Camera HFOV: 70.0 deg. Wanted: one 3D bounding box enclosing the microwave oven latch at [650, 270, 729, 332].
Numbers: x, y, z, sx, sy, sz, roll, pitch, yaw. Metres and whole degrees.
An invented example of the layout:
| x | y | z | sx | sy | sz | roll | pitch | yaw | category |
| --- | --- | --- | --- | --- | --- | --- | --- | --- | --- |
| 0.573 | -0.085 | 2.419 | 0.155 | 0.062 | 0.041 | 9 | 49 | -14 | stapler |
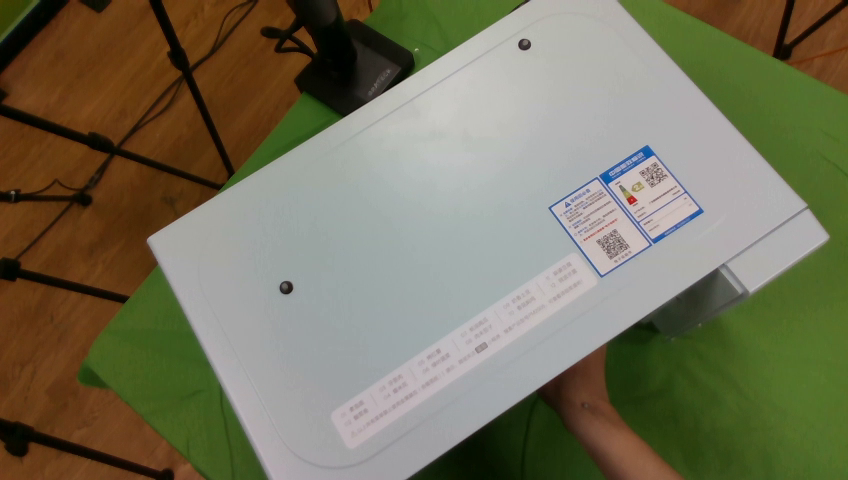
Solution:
| x | y | z | sx | sy | sz | roll | pitch | yaw | category |
| --- | --- | --- | --- | --- | --- | --- | --- | --- | --- |
| 0.282 | 0.066 | 0.644 | 0.079 | 0.030 | 0.030 | -32 | 73 | -3 | microwave oven latch |

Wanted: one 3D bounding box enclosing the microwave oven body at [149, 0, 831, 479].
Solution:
| x | y | z | sx | sy | sz | roll | pitch | yaw | category |
| --- | --- | --- | --- | --- | --- | --- | --- | --- | --- |
| 0.043 | 0.018 | 0.583 | 0.442 | 0.262 | 0.324 | -33 | 73 | -4 | microwave oven body |

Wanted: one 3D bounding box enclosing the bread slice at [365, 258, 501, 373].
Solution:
| x | y | z | sx | sy | sz | roll | pitch | yaw | category |
| --- | --- | --- | --- | --- | --- | --- | --- | --- | --- |
| 0.007 | 0.075 | 0.629 | 0.134 | 0.018 | 0.106 | 10 | 73 | -1 | bread slice |

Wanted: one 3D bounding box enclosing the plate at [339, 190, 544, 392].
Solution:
| x | y | z | sx | sy | sz | roll | pitch | yaw | category |
| --- | --- | --- | --- | --- | --- | --- | --- | --- | --- |
| 0.018 | 0.052 | 0.627 | 0.207 | 0.039 | 0.206 | -1 | 75 | 4 | plate |
